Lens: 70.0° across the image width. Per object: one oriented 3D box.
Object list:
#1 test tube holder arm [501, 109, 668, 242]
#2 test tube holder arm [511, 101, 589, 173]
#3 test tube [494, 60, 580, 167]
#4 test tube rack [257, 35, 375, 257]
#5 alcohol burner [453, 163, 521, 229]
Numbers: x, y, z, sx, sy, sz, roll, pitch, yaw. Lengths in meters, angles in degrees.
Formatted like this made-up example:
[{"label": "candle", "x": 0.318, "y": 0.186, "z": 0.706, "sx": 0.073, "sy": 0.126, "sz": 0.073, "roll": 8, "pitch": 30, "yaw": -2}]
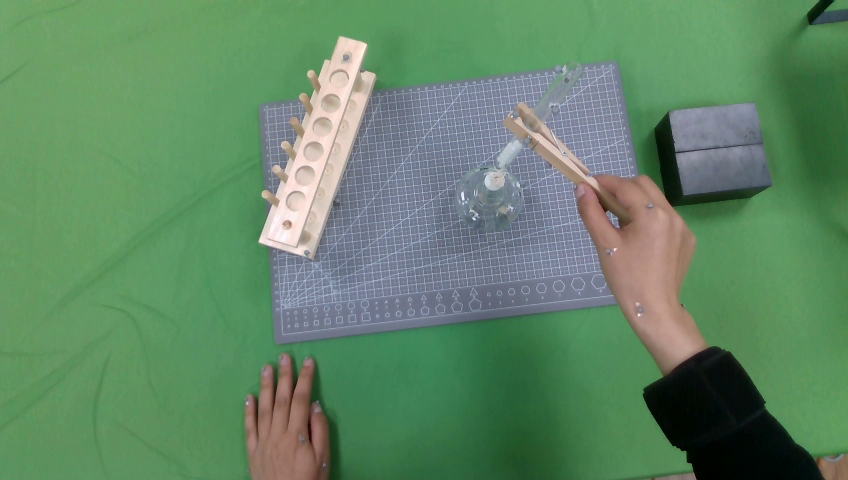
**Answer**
[{"label": "test tube holder arm", "x": 0.142, "y": -0.056, "z": 0.535, "sx": 0.178, "sy": 0.015, "sz": 0.013, "roll": 39, "pitch": 63, "yaw": 0}, {"label": "test tube holder arm", "x": 0.111, "y": -0.089, "z": 0.539, "sx": 0.087, "sy": 0.015, "sz": 0.010, "roll": 46, "pitch": 62, "yaw": 4}, {"label": "test tube", "x": 0.094, "y": -0.104, "z": 0.530, "sx": 0.017, "sy": 0.150, "sz": 0.017, "roll": 6, "pitch": 66, "yaw": -14}, {"label": "test tube rack", "x": -0.130, "y": -0.110, "z": 0.700, "sx": 0.066, "sy": 0.085, "sz": 0.241, "roll": 17, "pitch": 80, "yaw": 6}, {"label": "alcohol burner", "x": 0.071, "y": -0.053, "z": 0.670, "sx": 0.078, "sy": 0.119, "sz": 0.077, "roll": 0, "pitch": 78, "yaw": 0}]
